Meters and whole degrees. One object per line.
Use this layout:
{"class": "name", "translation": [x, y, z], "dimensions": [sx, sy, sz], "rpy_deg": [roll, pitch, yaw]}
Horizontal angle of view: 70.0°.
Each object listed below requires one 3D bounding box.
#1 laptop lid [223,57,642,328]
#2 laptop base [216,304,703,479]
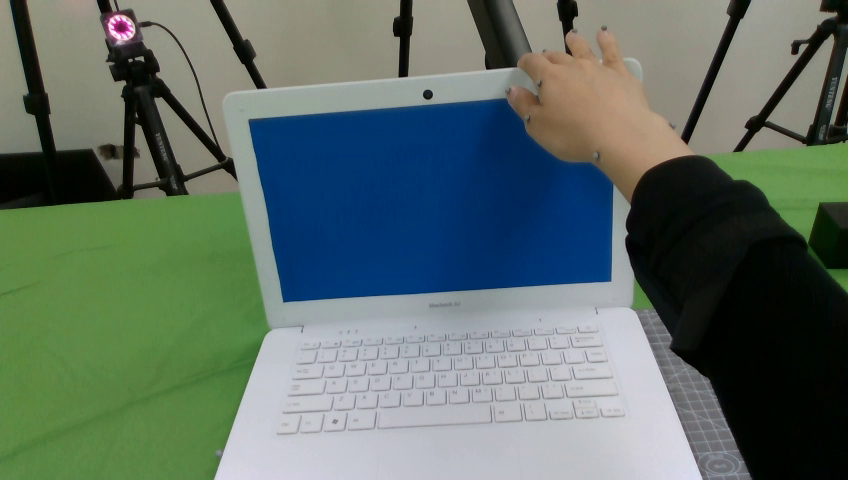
{"class": "laptop lid", "translation": [0.013, -0.029, 0.545], "dimensions": [0.356, 0.243, 0.013], "rpy_deg": [-5, 22, 4]}
{"class": "laptop base", "translation": [0.020, 0.145, 0.489], "dimensions": [0.354, 0.023, 0.233], "rpy_deg": [-4, 36, 4]}
